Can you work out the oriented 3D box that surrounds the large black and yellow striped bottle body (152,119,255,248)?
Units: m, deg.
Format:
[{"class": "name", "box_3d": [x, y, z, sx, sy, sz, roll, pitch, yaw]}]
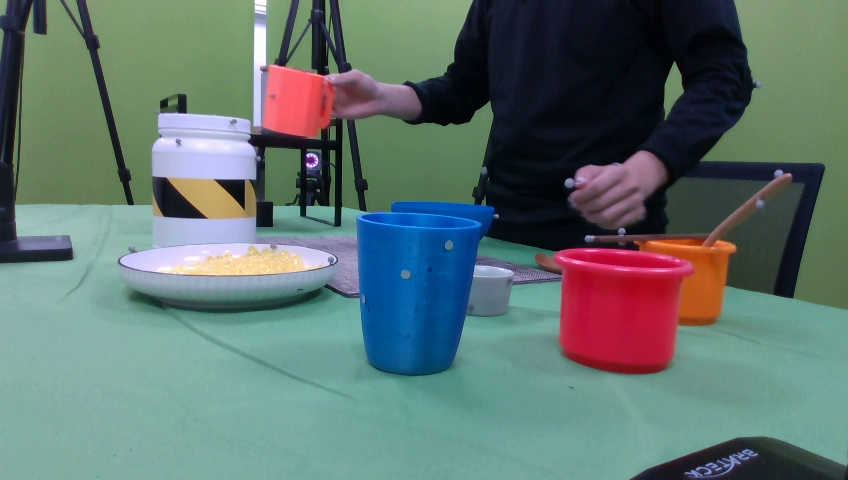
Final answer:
[{"class": "large black and yellow striped bottle body", "box_3d": [-0.296, -0.070, 0.819, 0.131, 0.184, 0.130, 2, 7, 0]}]

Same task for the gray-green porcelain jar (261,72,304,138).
[{"class": "gray-green porcelain jar", "box_3d": [-0.284, -0.276, 1.253, 0.106, 0.126, 0.106, 2, 8, 0]}]

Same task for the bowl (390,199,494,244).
[{"class": "bowl", "box_3d": [0.024, -0.015, 0.871, 0.151, 0.077, 0.151, 3, 7, 0]}]

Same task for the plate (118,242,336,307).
[{"class": "plate", "box_3d": [-0.194, 0.033, 0.615, 0.209, 0.038, 0.209, 2, 7, 0]}]

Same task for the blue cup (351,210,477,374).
[{"class": "blue cup", "box_3d": [-0.009, 0.034, 0.414, 0.093, 0.100, 0.092, 4, 8, 0]}]

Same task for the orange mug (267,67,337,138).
[{"class": "orange mug", "box_3d": [-0.190, -0.221, 0.977, 0.083, 0.101, 0.127, 20, 21, 28]}]

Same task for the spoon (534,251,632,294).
[{"class": "spoon", "box_3d": [0.193, 0.038, 0.753, 0.042, 0.021, 0.193, 13, 3, -20]}]

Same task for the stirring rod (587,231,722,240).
[{"class": "stirring rod", "box_3d": [0.227, -0.005, 0.586, 0.177, 0.006, 0.014, -1, 6, -28]}]

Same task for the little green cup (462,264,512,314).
[{"class": "little green cup", "box_3d": [0.053, 0.047, 0.580, 0.061, 0.038, 0.061, 3, 8, 0]}]

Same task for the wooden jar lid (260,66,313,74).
[{"class": "wooden jar lid", "box_3d": [-0.283, -0.339, 1.244, 0.108, 0.020, 0.108, 5, 8, 0]}]

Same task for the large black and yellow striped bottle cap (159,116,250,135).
[{"class": "large black and yellow striped bottle cap", "box_3d": [-0.292, -0.153, 0.810, 0.115, 0.019, 0.115, 3, 8, 0]}]

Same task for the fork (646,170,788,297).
[{"class": "fork", "box_3d": [0.256, 0.004, 0.543, 0.028, 0.018, 0.207, 3, -36, -9]}]
